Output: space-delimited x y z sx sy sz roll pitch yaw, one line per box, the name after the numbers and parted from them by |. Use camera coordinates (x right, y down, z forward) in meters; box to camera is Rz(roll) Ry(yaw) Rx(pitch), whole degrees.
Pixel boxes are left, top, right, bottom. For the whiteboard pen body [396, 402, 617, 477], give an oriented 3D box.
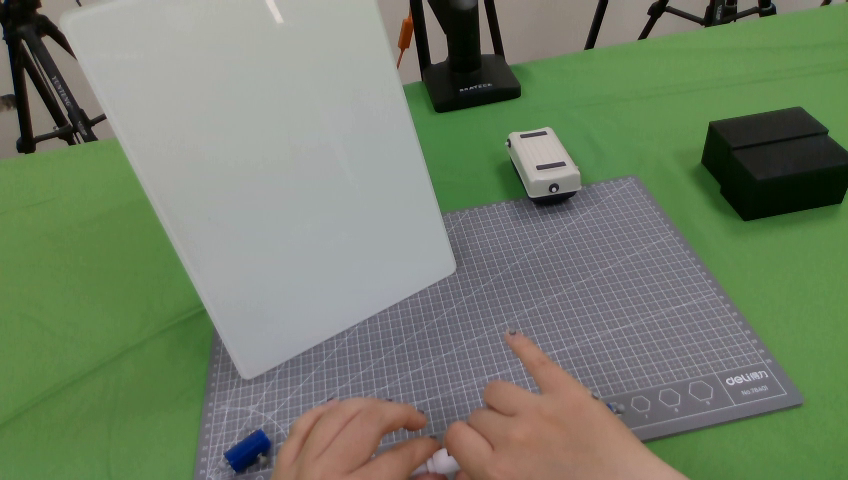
0.050 0.125 0.373 0.141 0.017 0.017 -17 41 3 | whiteboard pen body

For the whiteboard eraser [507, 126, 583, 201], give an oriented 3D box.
0.129 -0.084 0.661 0.055 0.042 0.111 -12 38 0 | whiteboard eraser

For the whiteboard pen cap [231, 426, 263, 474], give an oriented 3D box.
-0.132 0.157 0.450 0.018 0.018 0.033 0 60 10 | whiteboard pen cap

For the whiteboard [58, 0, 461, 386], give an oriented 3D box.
-0.128 -0.073 0.537 0.217 0.308 0.142 -26 25 -18 | whiteboard
